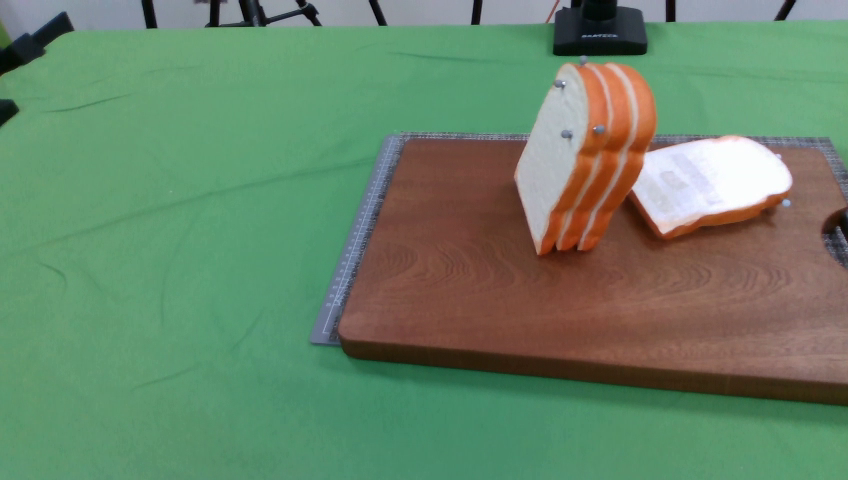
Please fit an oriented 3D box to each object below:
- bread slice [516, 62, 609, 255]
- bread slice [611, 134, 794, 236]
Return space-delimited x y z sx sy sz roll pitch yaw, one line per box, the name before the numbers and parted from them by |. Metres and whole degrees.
bread slice | 0.110 -0.072 0.492 0.018 0.135 0.106 5 41 -12
bread slice | 0.244 -0.052 0.525 0.131 0.019 0.103 -13 42 0
